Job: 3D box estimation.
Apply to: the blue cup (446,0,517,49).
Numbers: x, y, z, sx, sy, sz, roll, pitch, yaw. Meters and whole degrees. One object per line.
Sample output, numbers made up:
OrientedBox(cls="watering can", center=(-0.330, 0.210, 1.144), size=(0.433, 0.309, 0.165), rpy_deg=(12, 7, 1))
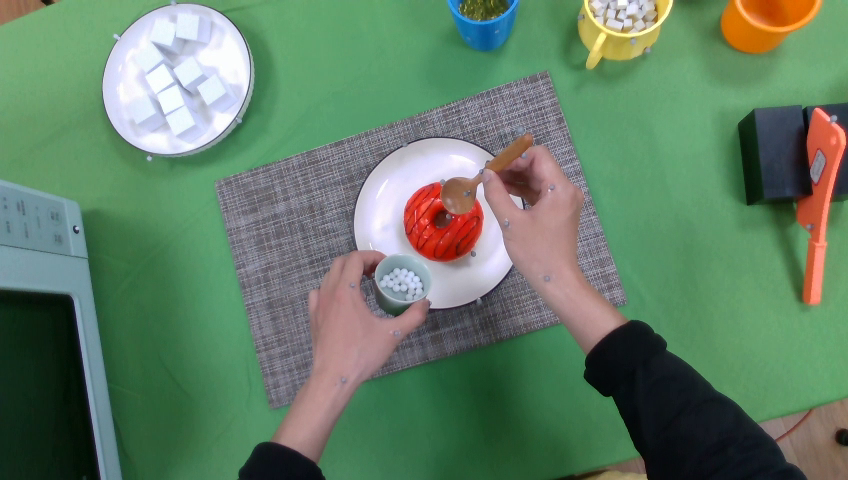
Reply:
OrientedBox(cls="blue cup", center=(0.070, -0.276, 0.721), size=(0.092, 0.100, 0.092), rpy_deg=(-1, 84, 7))

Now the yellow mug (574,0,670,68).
OrientedBox(cls="yellow mug", center=(0.224, -0.262, 0.716), size=(0.099, 0.064, 0.131), rpy_deg=(31, 89, 10))

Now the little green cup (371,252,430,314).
OrientedBox(cls="little green cup", center=(-0.027, 0.047, 0.639), size=(0.062, 0.039, 0.061), rpy_deg=(6, 55, -9))

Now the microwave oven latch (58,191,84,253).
OrientedBox(cls="microwave oven latch", center=(-0.461, -0.021, 0.777), size=(0.030, 0.029, 0.079), rpy_deg=(-13, 82, 6))

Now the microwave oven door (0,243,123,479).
OrientedBox(cls="microwave oven door", center=(-0.427, 0.177, 0.646), size=(0.039, 0.245, 0.354), rpy_deg=(-15, 81, 6))

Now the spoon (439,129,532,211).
OrientedBox(cls="spoon", center=(0.055, -0.064, 0.582), size=(0.021, 0.193, 0.041), rpy_deg=(-34, 91, -19))

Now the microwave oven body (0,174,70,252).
OrientedBox(cls="microwave oven body", center=(-0.577, 0.173, 0.672), size=(0.326, 0.261, 0.440), rpy_deg=(-14, 82, 5))

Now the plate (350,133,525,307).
OrientedBox(cls="plate", center=(0.016, -0.023, 0.727), size=(0.209, 0.038, 0.208), rpy_deg=(-1, 83, 7))

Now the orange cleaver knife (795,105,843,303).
OrientedBox(cls="orange cleaver knife", center=(0.419, -0.036, 0.655), size=(0.012, 0.077, 0.212), rpy_deg=(-2, 112, 10))

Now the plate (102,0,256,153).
OrientedBox(cls="plate", center=(-0.318, -0.212, 0.798), size=(0.207, 0.039, 0.207), rpy_deg=(-1, 83, 8))

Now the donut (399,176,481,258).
OrientedBox(cls="donut", center=(0.019, -0.027, 0.716), size=(0.099, 0.048, 0.099), rpy_deg=(-1, 85, 9))
